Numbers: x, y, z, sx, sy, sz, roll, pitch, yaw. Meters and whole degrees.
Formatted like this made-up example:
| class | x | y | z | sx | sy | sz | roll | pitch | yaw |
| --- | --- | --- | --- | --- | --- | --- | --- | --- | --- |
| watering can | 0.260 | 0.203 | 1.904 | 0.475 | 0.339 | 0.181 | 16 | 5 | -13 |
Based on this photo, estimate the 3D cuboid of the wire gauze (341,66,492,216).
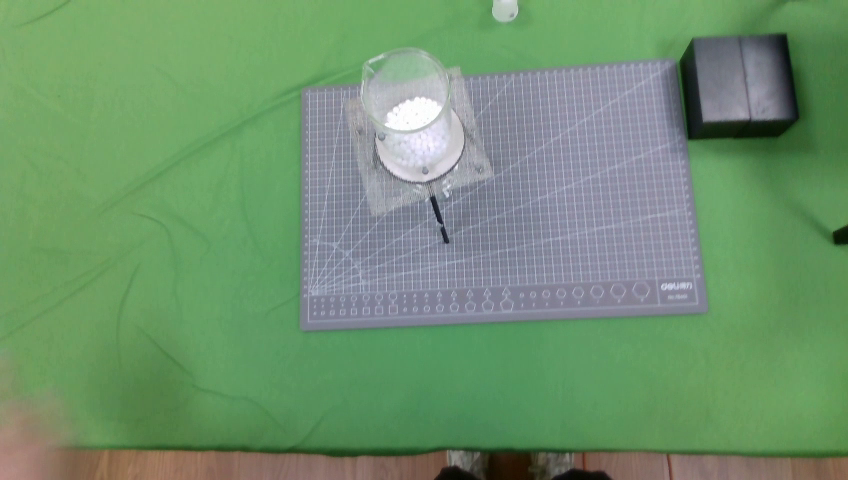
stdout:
| class | x | y | z | sx | sy | sz | roll | pitch | yaw |
| --- | --- | --- | --- | --- | --- | --- | --- | --- | --- |
| wire gauze | -0.008 | -0.098 | 0.584 | 0.121 | 0.011 | 0.124 | -17 | 80 | 3 |

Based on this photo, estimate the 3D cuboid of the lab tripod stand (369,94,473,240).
| class | x | y | z | sx | sy | sz | roll | pitch | yaw |
| --- | --- | --- | --- | --- | --- | --- | --- | --- | --- |
| lab tripod stand | 0.002 | -0.083 | 0.647 | 0.148 | 0.132 | 0.147 | -1 | 78 | 3 |

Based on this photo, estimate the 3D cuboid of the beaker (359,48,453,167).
| class | x | y | z | sx | sy | sz | roll | pitch | yaw |
| --- | --- | --- | --- | --- | --- | --- | --- | --- | --- |
| beaker | -0.014 | -0.113 | 0.538 | 0.083 | 0.101 | 0.074 | 38 | 84 | 11 |

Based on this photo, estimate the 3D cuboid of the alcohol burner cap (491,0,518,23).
| class | x | y | z | sx | sy | sz | roll | pitch | yaw |
| --- | --- | --- | --- | --- | --- | --- | --- | --- | --- |
| alcohol burner cap | 0.097 | -0.289 | 0.733 | 0.034 | 0.048 | 0.033 | -1 | 79 | 7 |

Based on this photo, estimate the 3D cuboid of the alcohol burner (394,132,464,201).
| class | x | y | z | sx | sy | sz | roll | pitch | yaw |
| --- | --- | --- | --- | --- | --- | --- | --- | --- | --- |
| alcohol burner | 0.004 | -0.085 | 0.657 | 0.078 | 0.120 | 0.077 | -2 | 75 | 6 |
